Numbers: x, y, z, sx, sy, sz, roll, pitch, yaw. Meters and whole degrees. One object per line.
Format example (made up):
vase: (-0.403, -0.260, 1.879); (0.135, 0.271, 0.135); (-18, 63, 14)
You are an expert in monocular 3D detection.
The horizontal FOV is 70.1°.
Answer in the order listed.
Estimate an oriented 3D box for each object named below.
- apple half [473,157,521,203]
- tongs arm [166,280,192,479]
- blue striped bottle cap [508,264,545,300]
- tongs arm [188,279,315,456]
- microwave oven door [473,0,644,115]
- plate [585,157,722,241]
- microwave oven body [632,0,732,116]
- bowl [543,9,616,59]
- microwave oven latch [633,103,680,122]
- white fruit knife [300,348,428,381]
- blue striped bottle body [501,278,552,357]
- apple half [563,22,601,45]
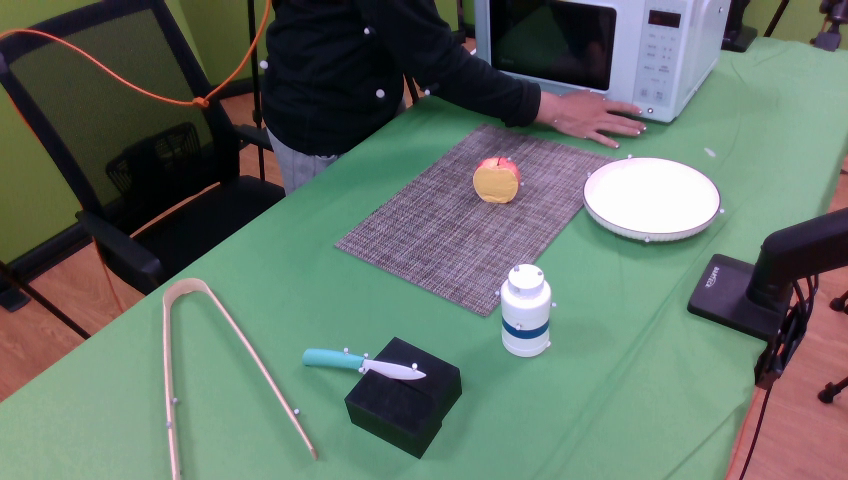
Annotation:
apple half: (0.127, -0.106, 1.030); (0.080, 0.075, 0.053); (4, 36, 19)
tongs arm: (-0.312, 0.183, 0.790); (0.051, 0.026, 0.381); (-21, 40, -12)
blue striped bottle cap: (0.125, 0.050, 0.735); (0.044, 0.021, 0.044); (-6, 39, 5)
tongs arm: (-0.240, 0.153, 0.814); (0.028, 0.028, 0.384); (-33, 45, -20)
microwave oven door: (0.257, -0.396, 1.199); (0.353, 0.245, 0.039); (21, 48, 29)
plate: (0.367, -0.063, 0.979); (0.207, 0.039, 0.206); (-4, 41, 4)
microwave oven body: (0.377, -0.463, 1.267); (0.438, 0.261, 0.327); (21, 49, 30)
bowl: (0.336, -0.440, 1.306); (0.151, 0.077, 0.151); (-8, 30, 5)
microwave oven latch: (0.443, -0.250, 1.158); (0.078, 0.029, 0.030); (21, 49, 30)
white fruit knife: (-0.079, 0.154, 0.748); (0.206, 0.027, 0.016); (1, 20, 34)
blue striped bottle body: (0.129, 0.089, 0.769); (0.063, 0.121, 0.063); (-4, 40, 4)
apple half: (0.335, -0.448, 1.299); (0.081, 0.033, 0.081); (-16, 33, 11)
